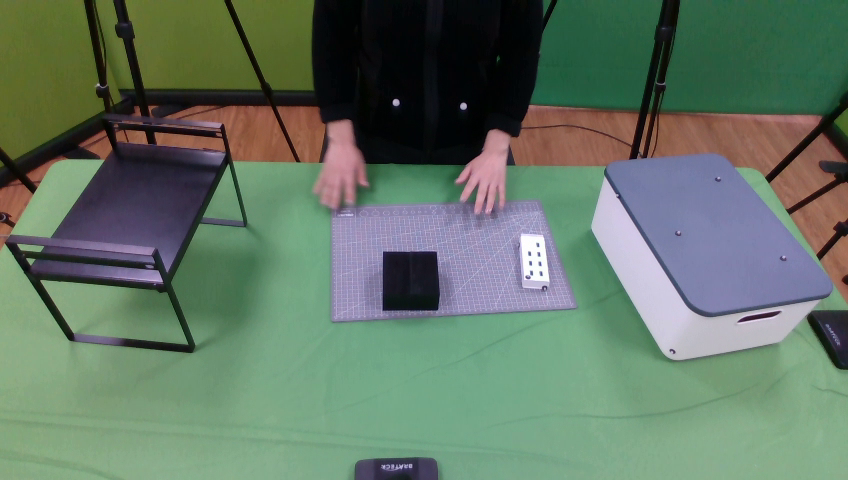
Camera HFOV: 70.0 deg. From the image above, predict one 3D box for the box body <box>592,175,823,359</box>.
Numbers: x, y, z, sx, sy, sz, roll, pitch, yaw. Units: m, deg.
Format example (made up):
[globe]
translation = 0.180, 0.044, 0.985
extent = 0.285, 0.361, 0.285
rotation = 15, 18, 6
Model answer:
[box body]
translation = 0.496, 0.023, 1.112
extent = 0.254, 0.161, 0.361
rotation = -8, 47, -10

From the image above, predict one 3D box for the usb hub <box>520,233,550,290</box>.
[usb hub]
translation = 0.212, 0.039, 1.168
extent = 0.049, 0.025, 0.124
rotation = 4, 45, 1

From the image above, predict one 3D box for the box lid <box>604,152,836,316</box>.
[box lid]
translation = 0.499, -0.029, 1.059
extent = 0.264, 0.015, 0.369
rotation = -7, 47, -11
